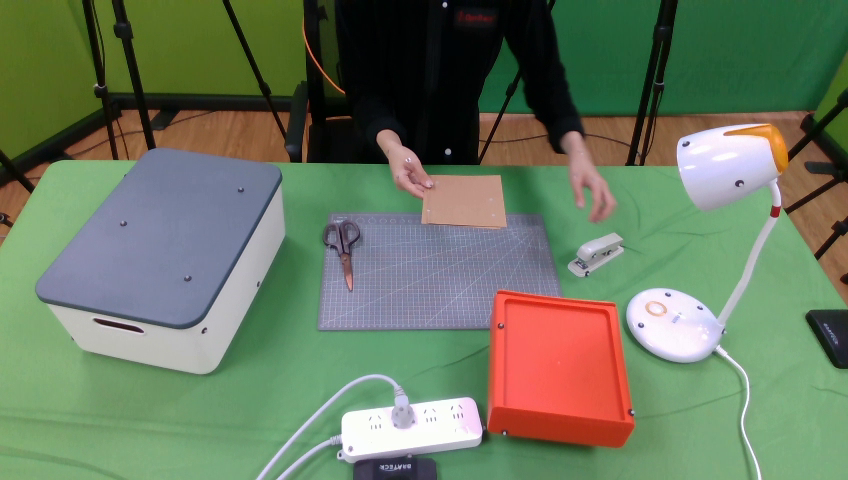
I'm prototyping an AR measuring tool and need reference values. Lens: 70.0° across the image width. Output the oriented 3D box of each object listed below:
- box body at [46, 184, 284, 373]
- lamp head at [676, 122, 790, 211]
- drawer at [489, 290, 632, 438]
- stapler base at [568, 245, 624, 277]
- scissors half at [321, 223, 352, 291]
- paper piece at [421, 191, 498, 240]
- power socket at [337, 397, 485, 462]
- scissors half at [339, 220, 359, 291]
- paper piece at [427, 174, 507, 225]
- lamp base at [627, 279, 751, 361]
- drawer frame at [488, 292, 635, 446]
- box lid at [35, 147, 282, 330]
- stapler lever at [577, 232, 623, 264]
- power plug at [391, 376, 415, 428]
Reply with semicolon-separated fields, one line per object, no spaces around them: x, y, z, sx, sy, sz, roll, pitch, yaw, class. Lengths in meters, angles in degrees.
-0.414;0.029;1.040;0.254;0.161;0.362;10;46;5;box body
0.423;-0.104;0.819;0.122;0.113;0.112;-13;33;40;lamp head
0.203;0.185;0.934;0.194;0.073;0.210;7;47;1;drawer
0.341;0.029;1.196;0.130;0.024;0.041;-26;56;-28;stapler base
-0.163;0.031;1.160;0.040;0.013;0.174;-17;51;-13;scissors half
0.067;-0.060;1.068;0.135;0.004;0.135;13;45;-1;paper piece
-0.018;0.285;0.915;0.227;0.033;0.071;-4;46;-8;power socket
-0.144;0.026;1.162;0.040;0.013;0.174;-8;51;2;scissors half
0.073;-0.073;1.064;0.136;0.009;0.137;4;44;-3;paper piece
0.460;0.100;1.027;0.178;0.181;0.160;27;51;17;lamp base
0.204;0.191;0.931;0.202;0.083;0.212;7;45;2;drawer frame
-0.411;-0.023;0.987;0.263;0.015;0.369;10;47;5;box lid
0.344;0.010;1.178;0.118;0.040;0.026;-26;56;-28;stapler lever
-0.030;0.249;0.917;0.035;0.053;0.072;3;46;0;power plug
